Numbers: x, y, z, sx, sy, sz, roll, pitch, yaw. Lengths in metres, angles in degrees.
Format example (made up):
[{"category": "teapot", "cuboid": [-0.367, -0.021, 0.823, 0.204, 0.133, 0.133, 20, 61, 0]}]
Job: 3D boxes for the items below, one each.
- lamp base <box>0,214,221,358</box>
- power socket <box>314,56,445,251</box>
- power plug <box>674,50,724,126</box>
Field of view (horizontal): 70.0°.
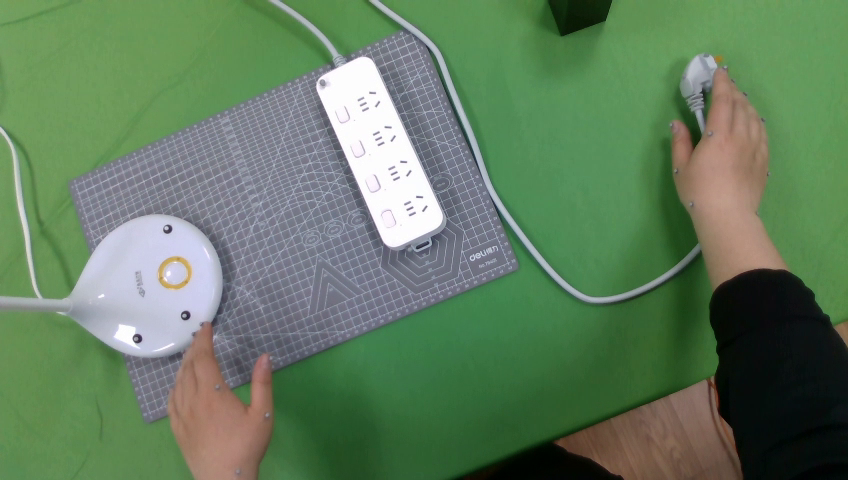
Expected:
[{"category": "lamp base", "cuboid": [-0.325, 0.049, 0.602, 0.179, 0.181, 0.160, -29, 81, 6]}, {"category": "power socket", "cuboid": [-0.049, -0.095, 0.656, 0.072, 0.033, 0.226, -25, 82, 3]}, {"category": "power plug", "cuboid": [0.288, -0.159, 0.627, 0.053, 0.035, 0.073, -20, 103, -6]}]
